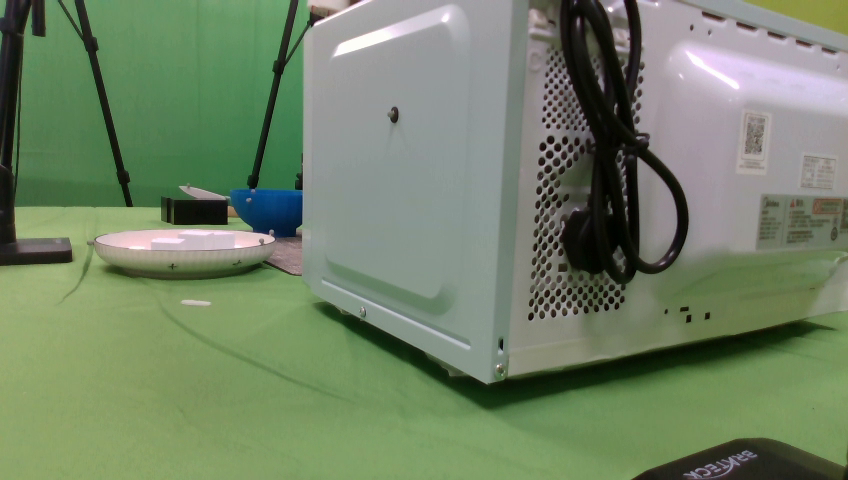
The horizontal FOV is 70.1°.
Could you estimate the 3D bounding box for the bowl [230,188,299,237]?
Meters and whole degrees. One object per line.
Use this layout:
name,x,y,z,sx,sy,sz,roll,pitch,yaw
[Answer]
bowl,-0.264,-0.048,1.066,0.151,0.077,0.151,3,8,0

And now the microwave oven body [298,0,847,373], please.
microwave oven body,0.151,-0.055,0.542,0.444,0.260,0.324,-2,7,-33

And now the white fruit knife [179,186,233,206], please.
white fruit knife,-0.413,-0.081,1.270,0.208,0.027,0.016,18,14,-41

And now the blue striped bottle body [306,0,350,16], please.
blue striped bottle body,-0.137,-0.399,0.905,0.063,0.120,0.063,10,8,-1

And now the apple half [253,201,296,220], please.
apple half,-0.264,-0.053,1.067,0.081,0.033,0.081,1,8,0

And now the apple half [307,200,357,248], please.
apple half,-0.135,-0.024,0.941,0.053,0.074,0.081,13,8,39

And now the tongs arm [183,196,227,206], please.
tongs arm,-0.404,-0.081,1.479,0.385,0.026,0.050,3,8,-2

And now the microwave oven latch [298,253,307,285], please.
microwave oven latch,-0.081,0.027,0.582,0.079,0.029,0.030,-2,8,-33

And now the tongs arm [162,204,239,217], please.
tongs arm,-0.396,-0.066,1.399,0.389,0.028,0.028,1,5,-15

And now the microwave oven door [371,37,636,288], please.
microwave oven door,0.109,-0.080,0.686,0.358,0.243,0.039,-2,9,-33

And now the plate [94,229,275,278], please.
plate,-0.291,0.016,0.750,0.208,0.039,0.207,2,7,0
